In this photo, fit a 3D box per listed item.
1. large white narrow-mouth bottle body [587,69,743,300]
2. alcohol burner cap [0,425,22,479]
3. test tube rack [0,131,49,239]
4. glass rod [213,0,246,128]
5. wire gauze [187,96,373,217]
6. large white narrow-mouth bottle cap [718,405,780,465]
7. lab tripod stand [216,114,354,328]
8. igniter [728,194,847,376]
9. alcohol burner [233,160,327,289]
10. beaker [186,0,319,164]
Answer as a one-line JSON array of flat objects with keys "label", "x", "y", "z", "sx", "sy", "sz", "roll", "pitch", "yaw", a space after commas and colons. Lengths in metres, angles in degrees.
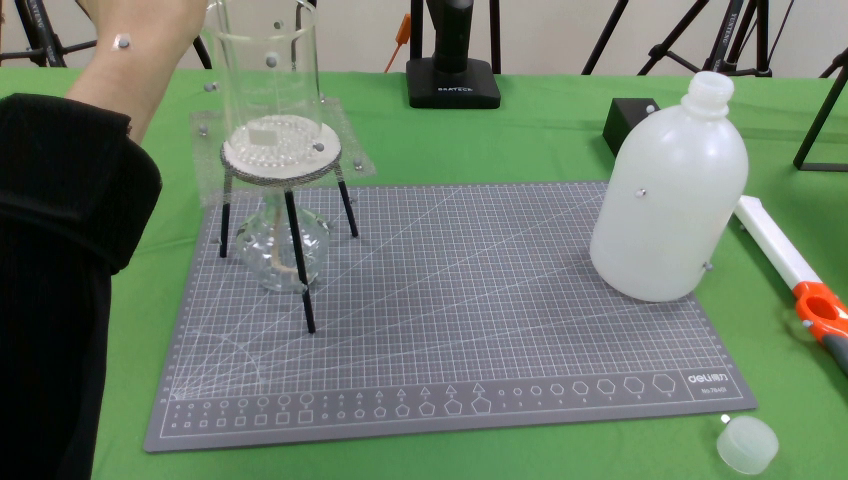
[{"label": "large white narrow-mouth bottle body", "x": 0.206, "y": -0.047, "z": 0.508, "sx": 0.102, "sy": 0.196, "sz": 0.101, "roll": 2, "pitch": 42, "yaw": -1}, {"label": "alcohol burner cap", "x": -0.284, "y": 0.130, "z": 0.386, "sx": 0.034, "sy": 0.048, "sz": 0.033, "roll": 4, "pitch": 41, "yaw": -3}, {"label": "test tube rack", "x": -0.463, "y": -0.013, "z": 0.498, "sx": 0.066, "sy": 0.086, "sz": 0.242, "roll": 34, "pitch": 49, "yaw": 29}, {"label": "glass rod", "x": -0.135, "y": -0.159, "z": 0.392, "sx": 0.008, "sy": 0.201, "sz": 0.008, "roll": 2, "pitch": 44, "yaw": -2}, {"label": "wire gauze", "x": -0.112, "y": -0.072, "z": 0.457, "sx": 0.122, "sy": 0.011, "sz": 0.123, "roll": -13, "pitch": 48, "yaw": -16}, {"label": "large white narrow-mouth bottle cap", "x": 0.233, "y": 0.140, "z": 0.436, "sx": 0.038, "sy": 0.024, "sz": 0.037, "roll": 2, "pitch": 42, "yaw": -1}, {"label": "lab tripod stand", "x": -0.111, "y": -0.022, "z": 0.499, "sx": 0.148, "sy": 0.132, "sz": 0.147, "roll": 4, "pitch": 42, "yaw": -3}, {"label": "igniter", "x": 0.346, "y": 0.048, "z": 0.544, "sx": 0.057, "sy": 0.025, "sz": 0.273, "roll": 7, "pitch": 40, "yaw": -13}, {"label": "alcohol burner", "x": -0.121, "y": -0.016, "z": 0.507, "sx": 0.078, "sy": 0.120, "sz": 0.077, "roll": 4, "pitch": 40, "yaw": -3}, {"label": "beaker", "x": -0.114, "y": -0.111, "z": 0.426, "sx": 0.084, "sy": 0.101, "sz": 0.073, "roll": -6, "pitch": 44, "yaw": -12}]
